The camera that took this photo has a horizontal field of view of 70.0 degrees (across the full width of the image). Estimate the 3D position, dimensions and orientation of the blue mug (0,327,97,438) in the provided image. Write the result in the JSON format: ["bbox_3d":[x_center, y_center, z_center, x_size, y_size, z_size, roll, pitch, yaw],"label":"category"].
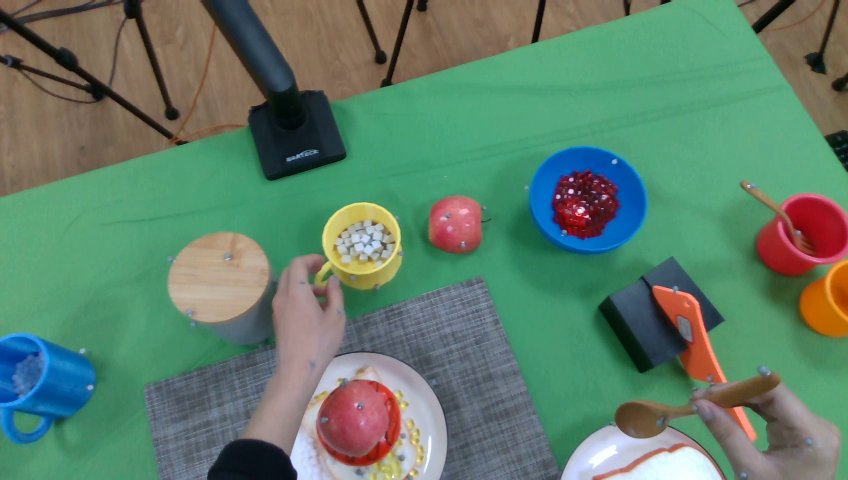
[{"bbox_3d":[-0.451,0.170,0.704,0.082,0.106,0.115,2,69,0],"label":"blue mug"}]

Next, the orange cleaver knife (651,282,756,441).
[{"bbox_3d":[0.336,0.145,0.735,0.012,0.077,0.211,-27,93,-18],"label":"orange cleaver knife"}]

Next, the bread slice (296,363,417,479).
[{"bbox_3d":[-0.071,0.227,0.720,0.107,0.018,0.133,-35,73,-12],"label":"bread slice"}]

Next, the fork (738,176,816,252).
[{"bbox_3d":[0.451,-0.031,0.769,0.209,0.018,0.028,29,63,-35],"label":"fork"}]

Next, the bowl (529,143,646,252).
[{"bbox_3d":[0.209,-0.045,0.809,0.151,0.077,0.150,0,69,0],"label":"bowl"}]

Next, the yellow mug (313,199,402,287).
[{"bbox_3d":[-0.092,0.014,0.790,0.131,0.064,0.099,-41,74,-14],"label":"yellow mug"}]

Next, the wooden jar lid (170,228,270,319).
[{"bbox_3d":[-0.226,0.038,0.678,0.108,0.021,0.107,1,66,-2],"label":"wooden jar lid"}]

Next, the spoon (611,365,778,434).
[{"bbox_3d":[0.207,0.129,0.481,0.041,0.194,0.021,42,65,6],"label":"spoon"}]

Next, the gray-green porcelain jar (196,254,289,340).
[{"bbox_3d":[-0.226,0.062,0.738,0.106,0.127,0.105,0,68,0],"label":"gray-green porcelain jar"}]

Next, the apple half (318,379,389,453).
[{"bbox_3d":[-0.078,0.191,0.663,0.081,0.033,0.080,-3,66,6],"label":"apple half"}]

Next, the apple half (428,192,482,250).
[{"bbox_3d":[0.042,-0.031,0.816,0.074,0.054,0.080,3,69,3],"label":"apple half"}]

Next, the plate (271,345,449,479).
[{"bbox_3d":[-0.074,0.230,0.718,0.208,0.039,0.206,0,69,0],"label":"plate"}]

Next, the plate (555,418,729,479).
[{"bbox_3d":[0.250,0.308,0.695,0.209,0.038,0.207,0,69,0],"label":"plate"}]

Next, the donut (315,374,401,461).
[{"bbox_3d":[-0.075,0.204,0.698,0.099,0.048,0.098,0,70,0],"label":"donut"}]
